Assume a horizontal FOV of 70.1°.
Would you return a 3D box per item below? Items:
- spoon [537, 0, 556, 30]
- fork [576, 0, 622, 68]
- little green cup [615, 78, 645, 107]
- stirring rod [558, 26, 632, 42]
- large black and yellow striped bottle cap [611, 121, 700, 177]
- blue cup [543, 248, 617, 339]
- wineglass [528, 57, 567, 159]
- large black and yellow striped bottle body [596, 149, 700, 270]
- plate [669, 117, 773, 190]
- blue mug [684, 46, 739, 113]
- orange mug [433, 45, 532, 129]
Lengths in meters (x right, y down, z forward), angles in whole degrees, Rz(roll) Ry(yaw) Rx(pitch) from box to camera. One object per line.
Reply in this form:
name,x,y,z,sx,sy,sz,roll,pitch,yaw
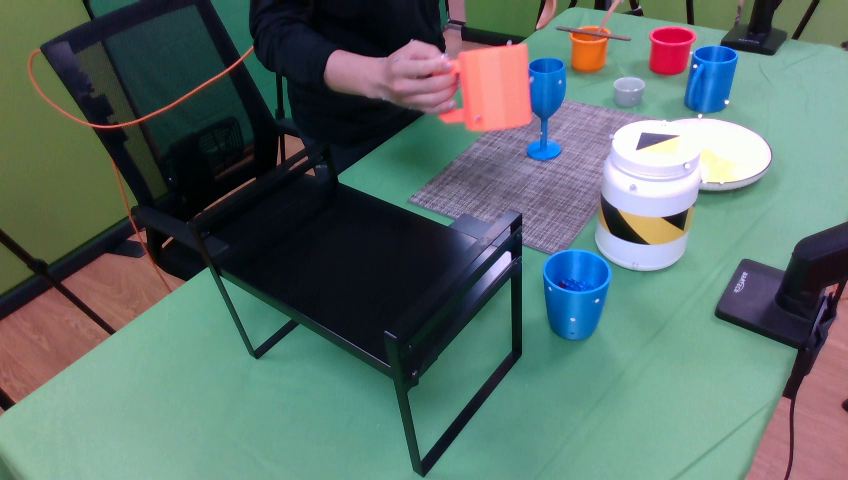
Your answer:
spoon,0.213,-0.436,0.980,0.022,0.193,0.041,8,8,-14
fork,0.409,-0.484,1.381,0.028,0.019,0.207,37,101,46
little green cup,0.426,-0.306,1.257,0.061,0.039,0.061,-4,40,4
stirring rod,0.381,-0.463,1.356,0.175,0.006,0.014,22,48,30
large black and yellow striped bottle cap,0.315,-0.126,0.823,0.115,0.019,0.114,-4,42,4
blue cup,0.199,0.076,0.797,0.092,0.100,0.092,-4,39,4
wineglass,0.221,-0.237,1.097,0.074,0.173,0.073,-4,41,4
large black and yellow striped bottle body,0.323,-0.062,0.877,0.131,0.185,0.130,-5,40,4
plate,0.495,-0.148,1.063,0.209,0.038,0.208,-5,40,4
blue mug,0.556,-0.310,1.190,0.117,0.106,0.081,-32,46,-25
orange mug,0.076,-0.198,0.784,0.126,0.101,0.083,1,20,12
